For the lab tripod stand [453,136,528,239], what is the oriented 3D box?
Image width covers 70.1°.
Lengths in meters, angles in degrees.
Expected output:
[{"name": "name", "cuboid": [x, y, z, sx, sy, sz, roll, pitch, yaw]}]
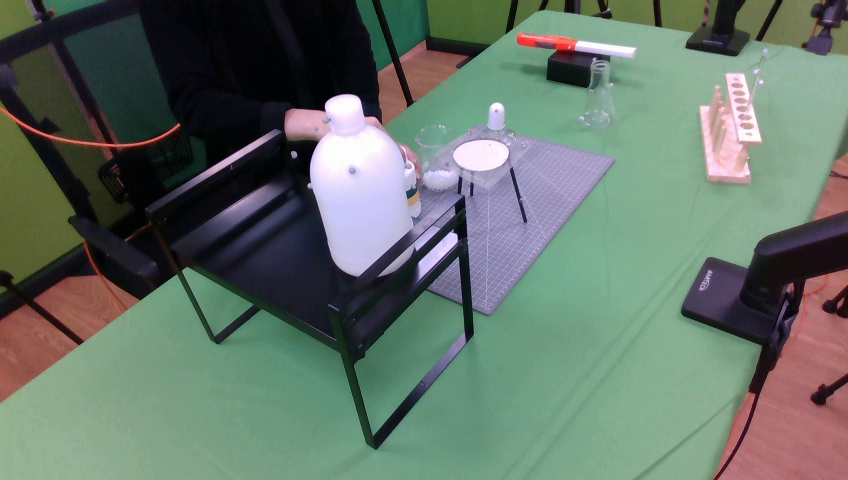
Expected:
[{"name": "lab tripod stand", "cuboid": [0.094, -0.086, 0.974, 0.148, 0.132, 0.147, -4, 43, 4]}]

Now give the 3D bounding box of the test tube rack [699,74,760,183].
[{"name": "test tube rack", "cuboid": [0.547, -0.208, 1.095, 0.066, 0.085, 0.242, 6, 42, 16]}]

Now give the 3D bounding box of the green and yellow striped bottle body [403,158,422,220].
[{"name": "green and yellow striped bottle body", "cuboid": [-0.042, -0.094, 1.010, 0.063, 0.120, 0.063, -5, 43, 5]}]

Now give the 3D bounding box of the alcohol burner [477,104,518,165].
[{"name": "alcohol burner", "cuboid": [0.135, -0.200, 1.117, 0.078, 0.119, 0.077, -4, 43, 4]}]

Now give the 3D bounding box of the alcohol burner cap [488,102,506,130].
[{"name": "alcohol burner cap", "cuboid": [0.133, -0.227, 1.092, 0.034, 0.048, 0.033, -1, 47, 2]}]

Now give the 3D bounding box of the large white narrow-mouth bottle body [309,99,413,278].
[{"name": "large white narrow-mouth bottle body", "cuboid": [-0.068, -0.057, 0.644, 0.102, 0.195, 0.101, -3, 42, 4]}]

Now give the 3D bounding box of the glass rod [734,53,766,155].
[{"name": "glass rod", "cuboid": [0.540, -0.220, 1.007, 0.008, 0.201, 0.008, -5, 45, 6]}]

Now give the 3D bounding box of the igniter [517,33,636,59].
[{"name": "igniter", "cuboid": [0.336, -0.441, 1.369, 0.275, 0.025, 0.057, 16, 41, 23]}]

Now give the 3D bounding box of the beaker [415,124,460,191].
[{"name": "beaker", "cuboid": [0.027, -0.147, 1.081, 0.073, 0.100, 0.084, 12, 43, 21]}]

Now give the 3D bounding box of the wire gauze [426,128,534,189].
[{"name": "wire gauze", "cuboid": [0.086, -0.131, 0.924, 0.124, 0.011, 0.122, 26, 52, 33]}]

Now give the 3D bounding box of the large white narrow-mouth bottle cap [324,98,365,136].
[{"name": "large white narrow-mouth bottle cap", "cuboid": [-0.076, -0.120, 0.585, 0.038, 0.024, 0.037, -3, 42, 3]}]

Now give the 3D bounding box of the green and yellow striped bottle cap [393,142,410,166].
[{"name": "green and yellow striped bottle cap", "cuboid": [-0.048, -0.135, 0.973, 0.045, 0.020, 0.045, -11, 54, 17]}]

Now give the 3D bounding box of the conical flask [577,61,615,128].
[{"name": "conical flask", "cuboid": [0.343, -0.288, 1.188, 0.075, 0.122, 0.075, -4, 41, 4]}]
